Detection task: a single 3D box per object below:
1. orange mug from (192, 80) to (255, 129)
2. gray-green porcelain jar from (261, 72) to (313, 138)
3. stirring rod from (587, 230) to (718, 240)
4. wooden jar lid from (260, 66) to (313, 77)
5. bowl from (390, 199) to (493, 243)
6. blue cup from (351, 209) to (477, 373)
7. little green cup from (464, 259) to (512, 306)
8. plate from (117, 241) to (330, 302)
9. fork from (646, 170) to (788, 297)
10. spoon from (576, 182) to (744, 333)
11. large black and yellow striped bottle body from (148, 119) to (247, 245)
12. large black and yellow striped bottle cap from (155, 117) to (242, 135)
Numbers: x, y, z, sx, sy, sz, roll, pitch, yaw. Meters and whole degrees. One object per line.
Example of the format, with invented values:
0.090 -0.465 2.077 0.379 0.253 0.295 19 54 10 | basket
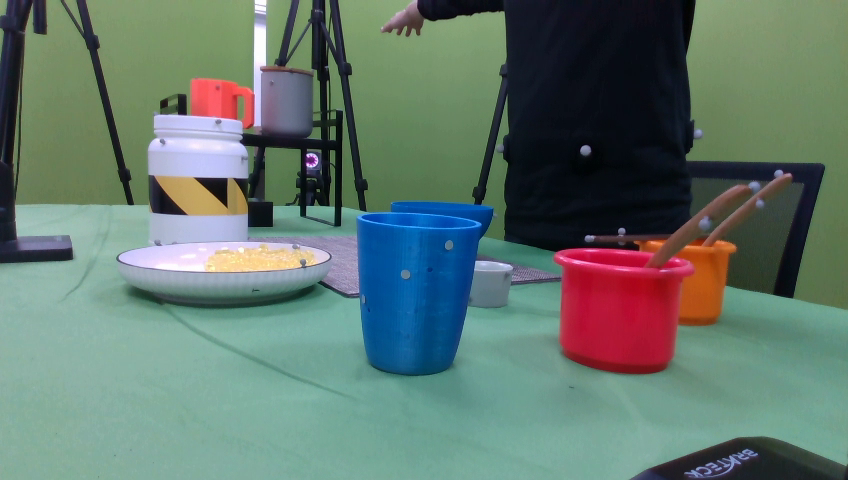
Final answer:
-0.389 -0.257 1.173 0.126 0.100 0.083 -1 7 9 | orange mug
-0.284 -0.276 1.253 0.106 0.126 0.106 2 8 0 | gray-green porcelain jar
0.226 -0.006 0.588 0.177 0.006 0.014 -2 10 -30 | stirring rod
-0.283 -0.339 1.245 0.108 0.020 0.108 5 9 -1 | wooden jar lid
0.023 -0.016 0.874 0.151 0.077 0.151 2 8 0 | bowl
-0.009 0.034 0.414 0.093 0.100 0.092 3 9 0 | blue cup
0.057 0.043 0.612 0.061 0.038 0.061 3 7 0 | little green cup
-0.203 0.031 0.630 0.209 0.038 0.209 3 7 0 | plate
0.256 0.004 0.543 0.028 0.018 0.207 3 -36 -9 | fork
0.152 0.020 0.410 0.042 0.021 0.193 -1 -36 -13 | spoon
-0.318 -0.076 0.855 0.131 0.184 0.130 2 7 0 | large black and yellow striped bottle body
-0.313 -0.159 0.845 0.115 0.019 0.115 3 9 0 | large black and yellow striped bottle cap
